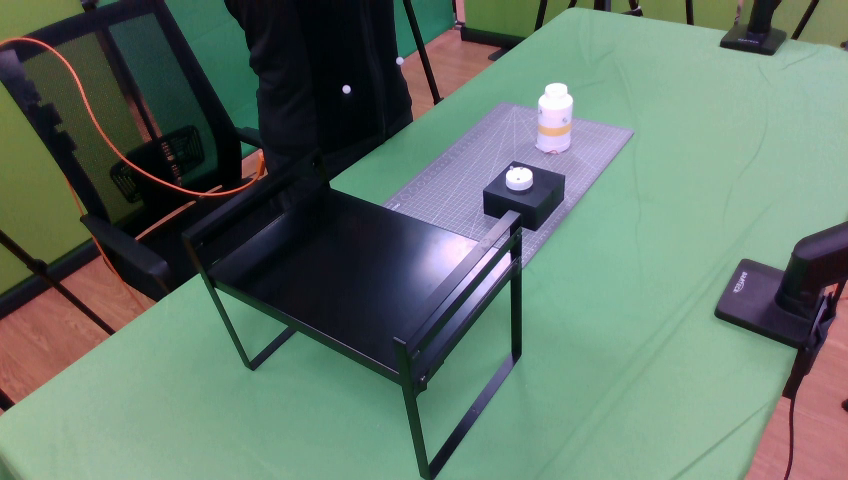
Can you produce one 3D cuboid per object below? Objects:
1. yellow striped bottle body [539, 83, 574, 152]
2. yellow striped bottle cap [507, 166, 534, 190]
[{"bbox_3d":[0.246,-0.230,1.127,0.063,0.121,0.062,-5,41,5],"label":"yellow striped bottle body"},{"bbox_3d":[0.159,-0.102,0.995,0.044,0.019,0.044,-6,39,5],"label":"yellow striped bottle cap"}]
